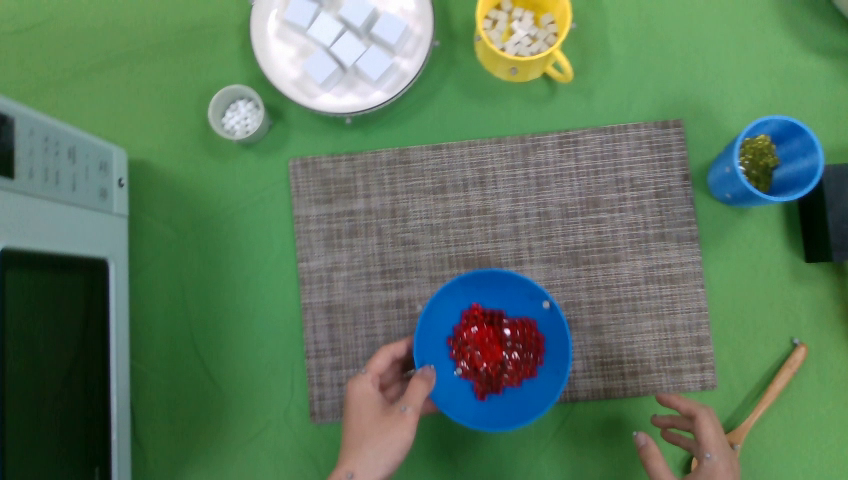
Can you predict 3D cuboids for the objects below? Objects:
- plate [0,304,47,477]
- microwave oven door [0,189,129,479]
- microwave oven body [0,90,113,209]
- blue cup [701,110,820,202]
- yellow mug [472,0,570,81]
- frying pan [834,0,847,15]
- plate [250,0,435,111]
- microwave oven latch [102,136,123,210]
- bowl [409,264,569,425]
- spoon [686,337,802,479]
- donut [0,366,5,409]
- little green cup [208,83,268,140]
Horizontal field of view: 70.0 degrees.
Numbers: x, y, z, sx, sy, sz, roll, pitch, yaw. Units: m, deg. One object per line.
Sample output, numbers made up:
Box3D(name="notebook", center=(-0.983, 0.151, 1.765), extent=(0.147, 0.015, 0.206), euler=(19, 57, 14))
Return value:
Box3D(name="plate", center=(-0.482, 0.154, 0.616), extent=(0.209, 0.038, 0.209), euler=(0, 88, 1))
Box3D(name="microwave oven door", center=(-0.350, 0.138, 0.556), extent=(0.039, 0.244, 0.355), euler=(-3, 86, 2))
Box3D(name="microwave oven body", center=(-0.497, 0.102, 0.568), extent=(0.326, 0.260, 0.441), euler=(-2, 87, 2))
Box3D(name="blue cup", center=(0.338, -0.078, 0.630), extent=(0.092, 0.100, 0.092), euler=(0, 85, 1))
Box3D(name="yellow mug", center=(0.115, -0.226, 0.666), extent=(0.100, 0.064, 0.130), euler=(-42, 87, -1))
Box3D(name="frying pan", center=(0.557, -0.239, 0.630), extent=(0.307, 0.103, 0.485), euler=(0, 78, 3))
Box3D(name="plate", center=(-0.090, -0.246, 0.689), extent=(0.207, 0.039, 0.207), euler=(0, 86, 2))
Box3D(name="microwave oven latch", center=(-0.351, -0.074, 0.670), extent=(0.030, 0.029, 0.079), euler=(0, 87, 2))
Box3D(name="bowl", center=(0.062, 0.102, 0.604), extent=(0.151, 0.077, 0.151), euler=(0, 83, 2))
Box3D(name="spoon", center=(0.351, 0.182, 0.654), extent=(0.041, 0.022, 0.193), euler=(39, 89, 17))
Box3D(name="donut", center=(-0.469, 0.150, 0.603), extent=(0.099, 0.048, 0.099), euler=(0, 90, 0))
Box3D(name="little green cup", center=(-0.208, -0.143, 0.685), extent=(0.061, 0.038, 0.061), euler=(0, 87, 2))
